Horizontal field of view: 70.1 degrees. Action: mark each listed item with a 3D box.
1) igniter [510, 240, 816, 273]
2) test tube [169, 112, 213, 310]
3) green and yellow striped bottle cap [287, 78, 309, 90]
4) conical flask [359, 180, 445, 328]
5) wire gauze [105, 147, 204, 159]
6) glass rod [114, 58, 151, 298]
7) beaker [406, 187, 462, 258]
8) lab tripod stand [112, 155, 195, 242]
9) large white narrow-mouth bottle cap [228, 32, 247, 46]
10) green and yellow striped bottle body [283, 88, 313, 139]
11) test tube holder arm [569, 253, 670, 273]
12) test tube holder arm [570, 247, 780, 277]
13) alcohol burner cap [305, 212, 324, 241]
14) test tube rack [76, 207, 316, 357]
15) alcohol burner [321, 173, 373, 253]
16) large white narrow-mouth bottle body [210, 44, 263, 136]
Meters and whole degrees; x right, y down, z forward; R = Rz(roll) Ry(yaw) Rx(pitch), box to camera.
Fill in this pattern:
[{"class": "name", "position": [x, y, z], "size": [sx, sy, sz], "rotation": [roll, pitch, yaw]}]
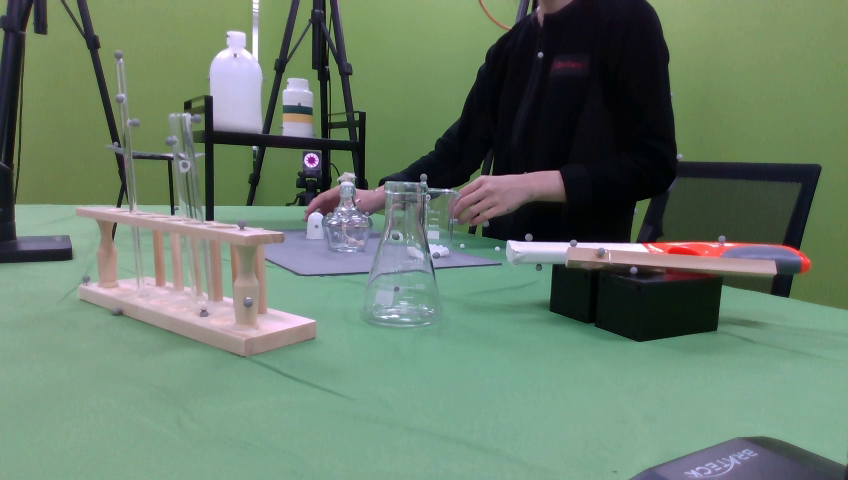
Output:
[{"class": "igniter", "position": [0.220, 0.015, 0.565], "size": [0.277, 0.025, 0.057], "rotation": [2, 16, 0]}, {"class": "test tube", "position": [-0.175, -0.020, 0.455], "size": [0.017, 0.150, 0.017], "rotation": [-3, 9, 1]}, {"class": "green and yellow striped bottle cap", "position": [-0.265, -0.326, 1.268], "size": [0.045, 0.020, 0.045], "rotation": [4, 6, 0]}, {"class": "conical flask", "position": [-0.017, 0.010, 0.522], "size": [0.075, 0.122, 0.075], "rotation": [2, 7, 0]}, {"class": "wire gauze", "position": [-0.407, -0.131, 0.928], "size": [0.125, 0.011, 0.121], "rotation": [2, 6, -11]}, {"class": "glass rod", "position": [-0.236, -0.044, 0.492], "size": [0.008, 0.199, 0.008], "rotation": [0, 15, 0]}, {"class": "beaker", "position": [0.013, -0.026, 0.892], "size": [0.084, 0.100, 0.074], "rotation": [3, 8, -2]}, {"class": "lab tripod stand", "position": [-0.405, -0.064, 0.931], "size": [0.148, 0.131, 0.148], "rotation": [1, 6, 0]}, {"class": "large white narrow-mouth bottle cap", "position": [-0.364, -0.390, 1.180], "size": [0.038, 0.024, 0.037], "rotation": [3, 8, 0]}, {"class": "green and yellow striped bottle body", "position": [-0.266, -0.275, 1.275], "size": [0.063, 0.119, 0.063], "rotation": [3, 7, 0]}, {"class": "test tube holder arm", "position": [0.172, 0.019, 0.532], "size": [0.088, 0.015, 0.010], "rotation": [3, -23, 3]}, {"class": "test tube holder arm", "position": [0.217, 0.019, 0.525], "size": [0.178, 0.015, 0.013], "rotation": [3, -23, 3]}, {"class": "alcohol burner cap", "position": [-0.185, -0.023, 1.027], "size": [0.034, 0.048, 0.034], "rotation": [2, 7, 0]}, {"class": "test tube rack", "position": [-0.196, 0.023, 0.499], "size": [0.241, 0.085, 0.067], "rotation": [8, 9, 36]}, {"class": "alcohol burner", "position": [-0.115, -0.041, 0.905], "size": [0.078, 0.119, 0.078], "rotation": [1, 6, 0]}, {"class": "large white narrow-mouth bottle body", "position": [-0.369, -0.305, 1.194], "size": [0.102, 0.194, 0.102], "rotation": [3, 8, 0]}]
